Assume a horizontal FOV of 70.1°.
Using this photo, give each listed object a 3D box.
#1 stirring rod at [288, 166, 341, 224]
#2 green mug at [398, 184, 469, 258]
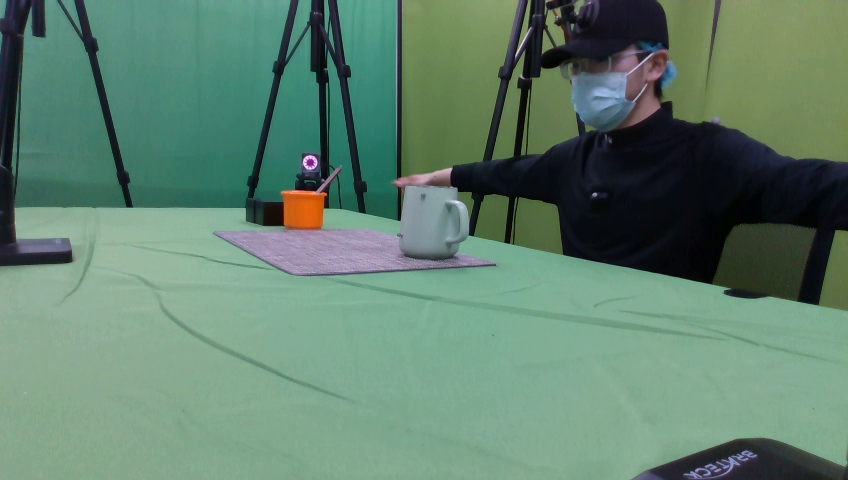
[{"bbox_3d":[-0.223,-0.094,1.238,0.014,0.006,0.176,5,48,41],"label":"stirring rod"},{"bbox_3d":[0.020,-0.028,0.890,0.093,0.105,0.124,-4,9,-41],"label":"green mug"}]
